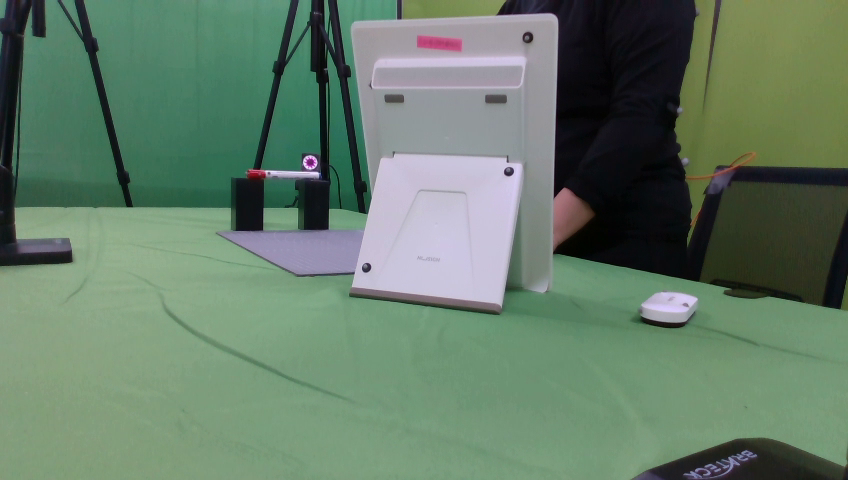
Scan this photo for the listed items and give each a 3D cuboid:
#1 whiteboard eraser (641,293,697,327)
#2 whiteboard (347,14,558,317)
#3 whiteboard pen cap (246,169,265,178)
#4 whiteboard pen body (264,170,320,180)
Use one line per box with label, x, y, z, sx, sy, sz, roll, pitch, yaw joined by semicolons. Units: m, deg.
whiteboard eraser;0.240;0.066;0.590;0.041;0.019;0.102;6;7;31
whiteboard;0.012;-0.056;0.609;0.216;0.305;0.144;5;27;20
whiteboard pen cap;-0.318;-0.125;1.143;0.032;0.017;0.017;0;8;-35
whiteboard pen body;-0.268;-0.127;1.179;0.141;0.017;0.017;-2;8;-36
